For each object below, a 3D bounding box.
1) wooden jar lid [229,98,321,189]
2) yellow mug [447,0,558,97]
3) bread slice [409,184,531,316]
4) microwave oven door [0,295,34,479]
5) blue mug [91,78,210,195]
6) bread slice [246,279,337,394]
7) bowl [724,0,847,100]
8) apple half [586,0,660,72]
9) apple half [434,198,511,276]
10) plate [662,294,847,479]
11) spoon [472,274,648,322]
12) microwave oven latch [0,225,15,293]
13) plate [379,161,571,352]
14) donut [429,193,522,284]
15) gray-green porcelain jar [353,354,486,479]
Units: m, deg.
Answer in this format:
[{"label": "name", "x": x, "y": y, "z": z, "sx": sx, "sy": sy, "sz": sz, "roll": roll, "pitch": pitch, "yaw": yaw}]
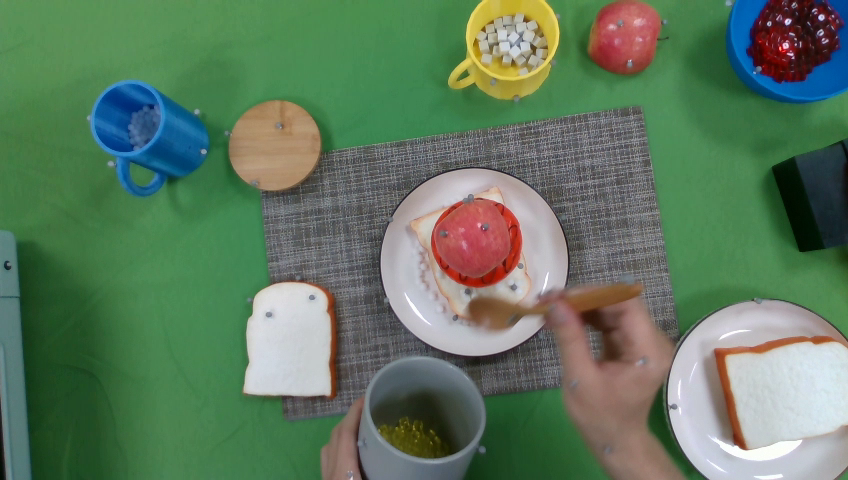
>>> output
[{"label": "wooden jar lid", "x": -0.172, "y": -0.110, "z": 0.707, "sx": 0.108, "sy": 0.021, "sz": 0.108, "roll": -1, "pitch": 82, "yaw": 5}, {"label": "yellow mug", "x": 0.082, "y": -0.210, "z": 0.675, "sx": 0.131, "sy": 0.064, "sz": 0.099, "roll": -32, "pitch": 84, "yaw": 2}, {"label": "bread slice", "x": 0.059, "y": 0.016, "z": 0.673, "sx": 0.107, "sy": 0.018, "sz": 0.134, "roll": -25, "pitch": 83, "yaw": 3}, {"label": "microwave oven door", "x": -0.475, "y": 0.230, "z": 0.577, "sx": 0.039, "sy": 0.244, "sz": 0.355, "roll": -8, "pitch": 85, "yaw": 4}, {"label": "blue mug", "x": -0.305, "y": -0.107, "z": 0.676, "sx": 0.082, "sy": 0.106, "sz": 0.116, "roll": 13, "pitch": 86, "yaw": 6}, {"label": "bread slice", "x": -0.152, "y": 0.110, "z": 0.690, "sx": 0.105, "sy": 0.019, "sz": 0.131, "roll": -1, "pitch": 87, "yaw": 4}, {"label": "bowl", "x": 0.387, "y": -0.214, "z": 0.646, "sx": 0.151, "sy": 0.077, "sz": 0.151, "roll": 0, "pitch": 86, "yaw": 5}, {"label": "apple half", "x": 0.223, "y": -0.235, "z": 0.673, "sx": 0.074, "sy": 0.053, "sz": 0.080, "roll": 15, "pitch": 87, "yaw": 8}, {"label": "apple half", "x": 0.049, "y": -0.004, "z": 0.608, "sx": 0.081, "sy": 0.033, "sz": 0.081, "roll": -1, "pitch": 84, "yaw": 12}, {"label": "plate", "x": 0.355, "y": 0.161, "z": 0.640, "sx": 0.209, "sy": 0.038, "sz": 0.208, "roll": 0, "pitch": 86, "yaw": 5}, {"label": "spoon", "x": 0.093, "y": 0.045, "z": 0.456, "sx": 0.021, "sy": 0.193, "sz": 0.042, "roll": -44, "pitch": 101, "yaw": -23}, {"label": "microwave oven latch", "x": -0.492, "y": 0.021, "z": 0.696, "sx": 0.030, "sy": 0.029, "sz": 0.079, "roll": -4, "pitch": 86, "yaw": 4}, {"label": "plate", "x": 0.055, "y": 0.018, "z": 0.670, "sx": 0.207, "sy": 0.039, "sz": 0.207, "roll": 0, "pitch": 86, "yaw": 4}, {"label": "donut", "x": 0.055, "y": -0.001, "z": 0.644, "sx": 0.099, "sy": 0.048, "sz": 0.099, "roll": 0, "pitch": 86, "yaw": 5}, {"label": "gray-green porcelain jar", "x": -0.009, "y": 0.184, "z": 0.554, "sx": 0.105, "sy": 0.105, "sz": 0.127, "roll": 19, "pitch": 131, "yaw": 6}]
